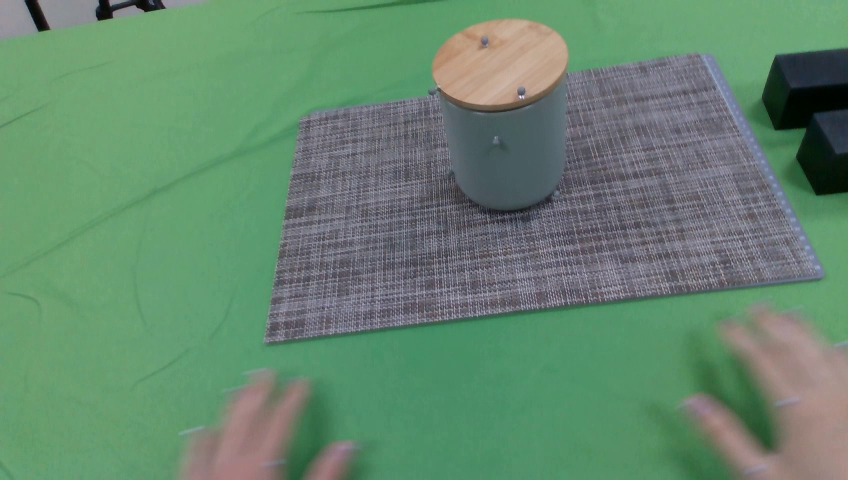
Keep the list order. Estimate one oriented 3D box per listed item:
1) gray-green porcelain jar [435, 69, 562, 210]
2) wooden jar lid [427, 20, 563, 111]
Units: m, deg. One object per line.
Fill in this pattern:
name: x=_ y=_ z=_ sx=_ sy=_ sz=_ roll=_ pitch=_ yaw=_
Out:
gray-green porcelain jar: x=0.069 y=-0.098 z=0.538 sx=0.106 sy=0.128 sz=0.105 roll=-6 pitch=51 yaw=8
wooden jar lid: x=0.057 y=-0.138 z=0.489 sx=0.108 sy=0.021 sz=0.107 roll=-6 pitch=54 yaw=8
